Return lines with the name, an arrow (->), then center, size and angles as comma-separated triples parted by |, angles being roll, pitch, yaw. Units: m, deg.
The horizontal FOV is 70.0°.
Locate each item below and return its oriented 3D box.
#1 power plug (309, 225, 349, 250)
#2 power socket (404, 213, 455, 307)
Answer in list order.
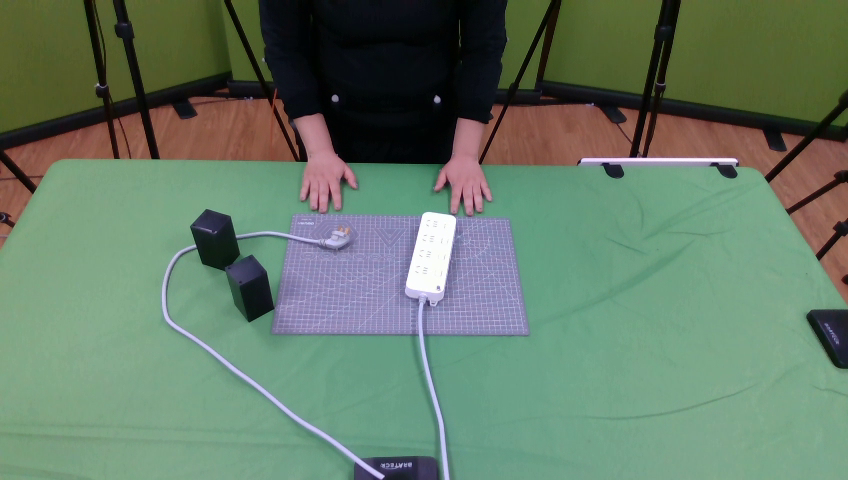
power plug -> -0.182, -0.010, 1.175 | 0.072, 0.035, 0.052 | 20, 65, 0
power socket -> 0.013, 0.029, 1.159 | 0.072, 0.033, 0.225 | 8, 46, 5
